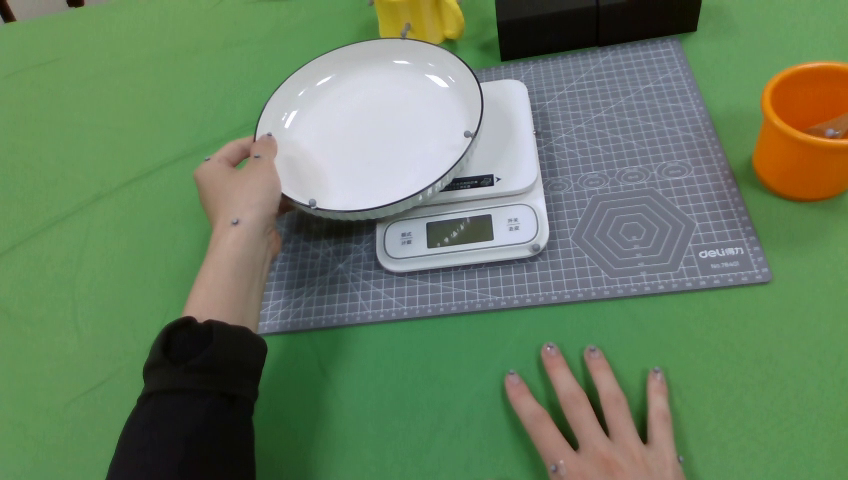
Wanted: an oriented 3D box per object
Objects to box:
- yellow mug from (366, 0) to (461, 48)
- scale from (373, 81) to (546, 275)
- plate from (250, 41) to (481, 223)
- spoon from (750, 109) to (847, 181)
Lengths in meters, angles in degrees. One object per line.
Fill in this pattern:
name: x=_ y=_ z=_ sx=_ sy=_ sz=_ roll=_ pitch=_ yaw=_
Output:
yellow mug: x=-0.006 y=-0.266 z=0.693 sx=0.100 sy=0.064 sz=0.129 roll=-42 pitch=57 yaw=-17
scale: x=0.027 y=-0.063 z=0.554 sx=0.148 sy=0.032 sz=0.199 roll=-7 pitch=54 yaw=9
plate: x=-0.051 y=-0.097 z=0.548 sx=0.209 sy=0.038 sz=0.207 roll=-5 pitch=57 yaw=8
spoon: x=0.333 y=-0.103 z=0.440 sx=0.022 sy=0.194 sz=0.041 roll=17 pitch=51 yaw=-30
